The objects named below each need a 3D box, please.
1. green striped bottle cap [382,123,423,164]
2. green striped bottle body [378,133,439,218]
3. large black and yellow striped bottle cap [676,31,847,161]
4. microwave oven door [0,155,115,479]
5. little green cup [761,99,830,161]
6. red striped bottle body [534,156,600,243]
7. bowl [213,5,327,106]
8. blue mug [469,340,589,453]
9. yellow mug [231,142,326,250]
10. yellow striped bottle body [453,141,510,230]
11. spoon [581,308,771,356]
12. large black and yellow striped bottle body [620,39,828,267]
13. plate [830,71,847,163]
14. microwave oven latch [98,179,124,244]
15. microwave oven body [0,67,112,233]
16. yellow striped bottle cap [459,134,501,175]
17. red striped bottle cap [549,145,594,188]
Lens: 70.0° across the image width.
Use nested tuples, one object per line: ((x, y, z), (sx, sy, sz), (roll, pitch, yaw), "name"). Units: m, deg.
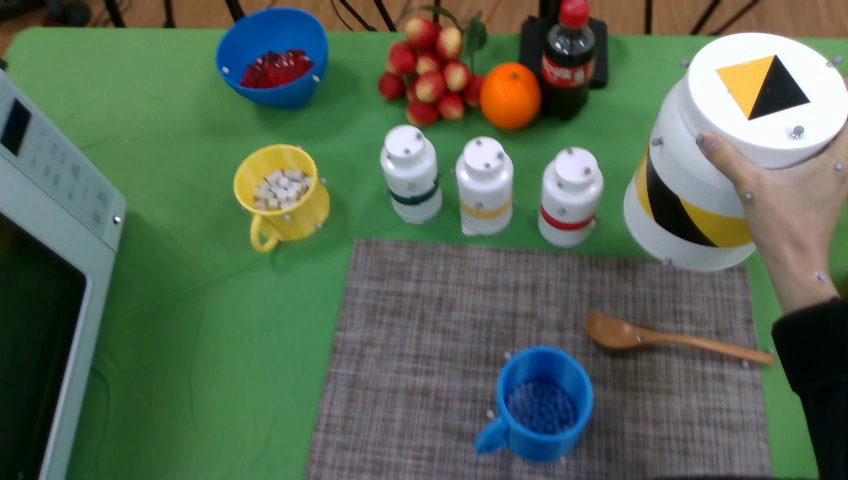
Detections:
((-0.024, -0.106, 0.659), (0.044, 0.020, 0.044), (-3, 60, 5), "green striped bottle cap")
((-0.018, -0.081, 0.705), (0.063, 0.120, 0.062), (-2, 62, 5), "green striped bottle body")
((0.250, -0.110, 0.451), (0.115, 0.019, 0.114), (-2, 61, 3), "large black and yellow striped bottle cap")
((-0.399, 0.111, 0.554), (0.039, 0.246, 0.352), (-5, 62, 5), "microwave oven door")
((0.406, -0.120, 0.668), (0.061, 0.039, 0.061), (-2, 61, 4), "little green cup")
((0.157, -0.052, 0.670), (0.063, 0.121, 0.062), (-2, 61, 5), "red striped bottle body")
((-0.199, -0.238, 0.831), (0.151, 0.077, 0.150), (-2, 62, 5), "bowl")
((0.093, 0.159, 0.570), (0.116, 0.107, 0.081), (-30, 63, -9), "blue mug")
((-0.181, -0.048, 0.736), (0.099, 0.064, 0.130), (13, 65, 13), "yellow mug")
((0.066, -0.067, 0.688), (0.063, 0.121, 0.062), (-3, 61, 6), "yellow striped bottle body")
((0.260, 0.100, 0.630), (0.193, 0.022, 0.041), (7, 41, 10), "spoon")
((0.255, -0.071, 0.526), (0.131, 0.185, 0.129), (-1, 61, 3), "large black and yellow striped bottle body")
((0.581, -0.129, 0.712), (0.209, 0.038, 0.207), (-2, 62, 5), "plate")
((-0.394, -0.034, 0.746), (0.030, 0.030, 0.078), (-3, 63, 4), "microwave oven latch")
((-0.545, 0.087, 0.588), (0.326, 0.262, 0.438), (-4, 62, 4), "microwave oven body")
((0.060, -0.091, 0.642), (0.044, 0.019, 0.044), (0, 59, 1), "yellow striped bottle cap")
((0.152, -0.076, 0.624), (0.044, 0.018, 0.044), (0, 61, 1), "red striped bottle cap")
